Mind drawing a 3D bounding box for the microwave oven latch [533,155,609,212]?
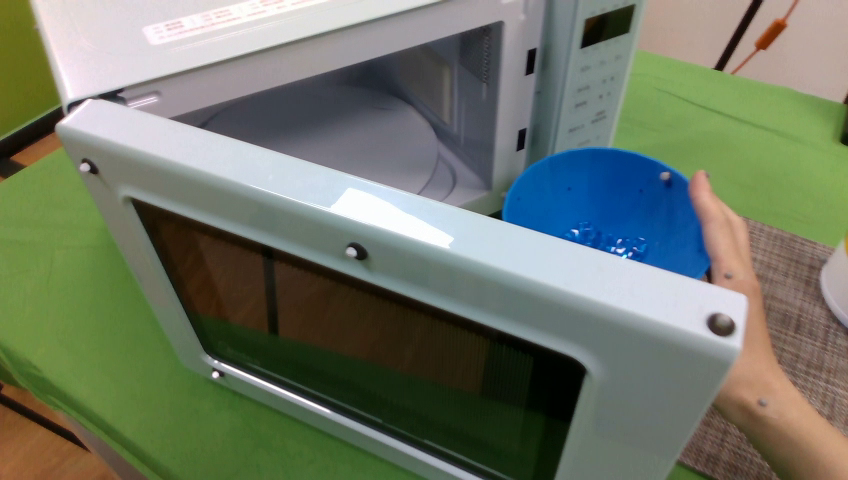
[{"bbox_3d":[0.152,-0.058,0.627,0.079,0.030,0.030,-22,50,-19],"label":"microwave oven latch"}]

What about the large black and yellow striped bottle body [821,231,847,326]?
[{"bbox_3d":[0.427,-0.005,0.486,0.131,0.185,0.129,0,46,1],"label":"large black and yellow striped bottle body"}]

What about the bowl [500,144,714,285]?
[{"bbox_3d":[0.130,0.007,0.462,0.151,0.077,0.150,0,53,1],"label":"bowl"}]

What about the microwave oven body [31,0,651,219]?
[{"bbox_3d":[-0.078,-0.149,0.584,0.442,0.262,0.322,-24,50,-20],"label":"microwave oven body"}]

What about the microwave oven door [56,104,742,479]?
[{"bbox_3d":[-0.034,0.063,0.367,0.354,0.246,0.039,18,48,18],"label":"microwave oven door"}]
